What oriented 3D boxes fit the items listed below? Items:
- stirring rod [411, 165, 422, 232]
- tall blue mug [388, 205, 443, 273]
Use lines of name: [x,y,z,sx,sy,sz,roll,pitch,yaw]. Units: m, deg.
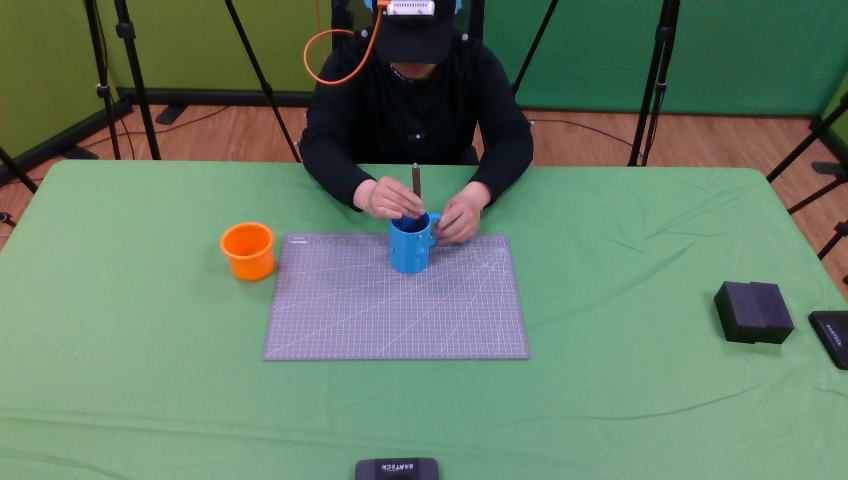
stirring rod: [-0.012,-0.059,1.094,0.014,0.177,0.006,9,42,13]
tall blue mug: [-0.020,-0.010,1.144,0.077,0.108,0.107,23,49,18]
